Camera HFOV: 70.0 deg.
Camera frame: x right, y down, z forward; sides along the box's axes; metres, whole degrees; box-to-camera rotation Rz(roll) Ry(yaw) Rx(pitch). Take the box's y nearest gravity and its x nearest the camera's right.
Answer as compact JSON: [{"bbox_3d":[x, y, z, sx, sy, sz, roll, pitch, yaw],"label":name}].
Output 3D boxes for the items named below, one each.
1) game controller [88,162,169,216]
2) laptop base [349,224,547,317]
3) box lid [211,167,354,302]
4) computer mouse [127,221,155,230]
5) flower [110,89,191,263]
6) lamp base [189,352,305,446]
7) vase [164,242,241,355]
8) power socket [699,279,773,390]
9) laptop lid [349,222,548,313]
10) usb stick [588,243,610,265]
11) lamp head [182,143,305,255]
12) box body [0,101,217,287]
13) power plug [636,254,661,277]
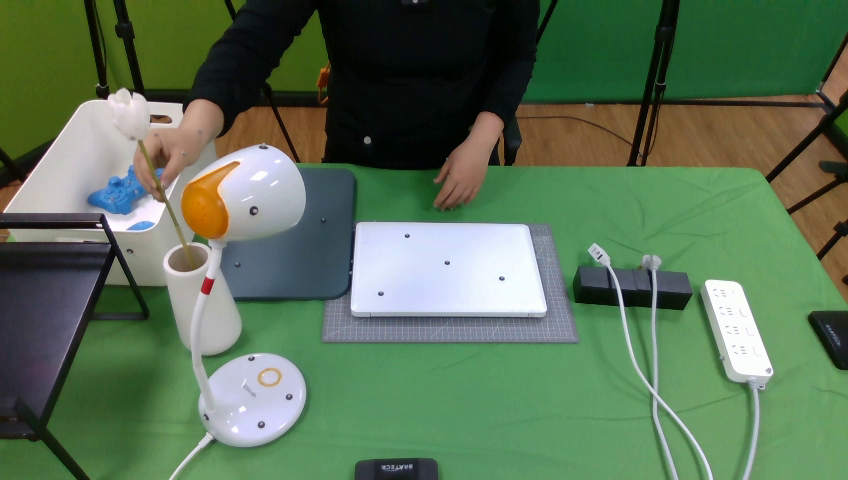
[{"bbox_3d":[-0.597,-0.112,1.234,0.097,0.052,0.155,28,52,20],"label":"game controller"},{"bbox_3d":[0.041,0.055,1.148,0.355,0.023,0.234,1,42,-4],"label":"laptop base"},{"bbox_3d":[-0.276,-0.023,1.205,0.263,0.015,0.369,0,46,-4],"label":"box lid"},{"bbox_3d":[-0.537,0.009,1.127,0.062,0.041,0.117,31,55,21],"label":"computer mouse"},{"bbox_3d":[-0.355,-0.045,0.842,0.044,0.363,0.038,-2,47,-4],"label":"flower"},{"bbox_3d":[-0.267,0.197,0.876,0.160,0.181,0.179,26,52,19],"label":"lamp base"},{"bbox_3d":[-0.349,0.096,0.953,0.098,0.201,0.097,3,47,-3],"label":"vase"},{"bbox_3d":[0.552,0.158,1.080,0.072,0.033,0.225,4,47,1],"label":"power socket"},{"bbox_3d":[0.041,0.046,1.143,0.357,0.013,0.240,2,44,-3],"label":"laptop lid"},{"bbox_3d":[0.336,0.025,1.171,0.027,0.021,0.059,35,18,-13],"label":"usb stick"},{"bbox_3d":[-0.216,-0.044,0.697,0.112,0.113,0.123,23,31,17],"label":"lamp head"},{"bbox_3d":[-0.559,-0.092,1.144,0.254,0.161,0.361,3,46,-2],"label":"box body"},{"bbox_3d":[0.415,0.051,1.139,0.035,0.053,0.072,46,49,10],"label":"power plug"}]
